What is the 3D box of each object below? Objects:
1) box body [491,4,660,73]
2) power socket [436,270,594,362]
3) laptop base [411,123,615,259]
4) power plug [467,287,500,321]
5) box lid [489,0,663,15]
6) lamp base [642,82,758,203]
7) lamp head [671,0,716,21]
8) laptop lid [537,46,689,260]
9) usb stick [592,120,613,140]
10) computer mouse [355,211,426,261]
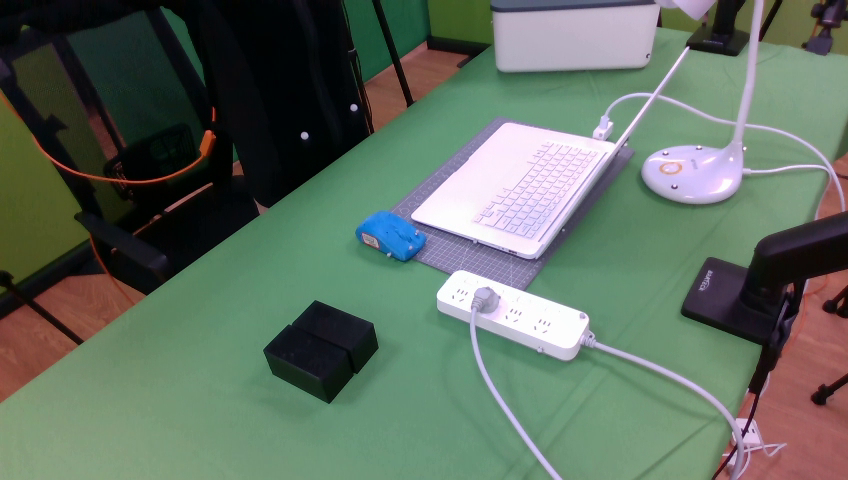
[{"bbox_3d":[0.347,-0.521,1.429,0.363,0.161,0.253,1,41,9],"label":"box body"},{"bbox_3d":[0.118,0.101,0.832,0.225,0.033,0.072,19,48,27],"label":"power socket"},{"bbox_3d":[0.168,-0.101,1.073,0.234,0.023,0.355,17,46,30],"label":"laptop base"},{"bbox_3d":[0.073,0.092,0.814,0.035,0.053,0.073,29,54,34],"label":"power plug"},{"bbox_3d":[0.341,-0.576,1.380,0.371,0.015,0.262,0,41,10],"label":"box lid"},{"bbox_3d":[0.464,-0.174,0.992,0.179,0.181,0.159,-5,41,-1],"label":"lamp base"},{"bbox_3d":[0.375,-0.373,0.807,0.122,0.113,0.112,-40,27,32],"label":"lamp head"},{"bbox_3d":[0.293,-0.136,0.927,0.013,0.241,0.357,35,51,10],"label":"laptop lid"},{"bbox_3d":[0.336,-0.201,1.146,0.021,0.027,0.059,26,53,27],"label":"usb stick"},{"bbox_3d":[-0.055,-0.010,0.980,0.116,0.041,0.063,27,50,29],"label":"computer mouse"}]
